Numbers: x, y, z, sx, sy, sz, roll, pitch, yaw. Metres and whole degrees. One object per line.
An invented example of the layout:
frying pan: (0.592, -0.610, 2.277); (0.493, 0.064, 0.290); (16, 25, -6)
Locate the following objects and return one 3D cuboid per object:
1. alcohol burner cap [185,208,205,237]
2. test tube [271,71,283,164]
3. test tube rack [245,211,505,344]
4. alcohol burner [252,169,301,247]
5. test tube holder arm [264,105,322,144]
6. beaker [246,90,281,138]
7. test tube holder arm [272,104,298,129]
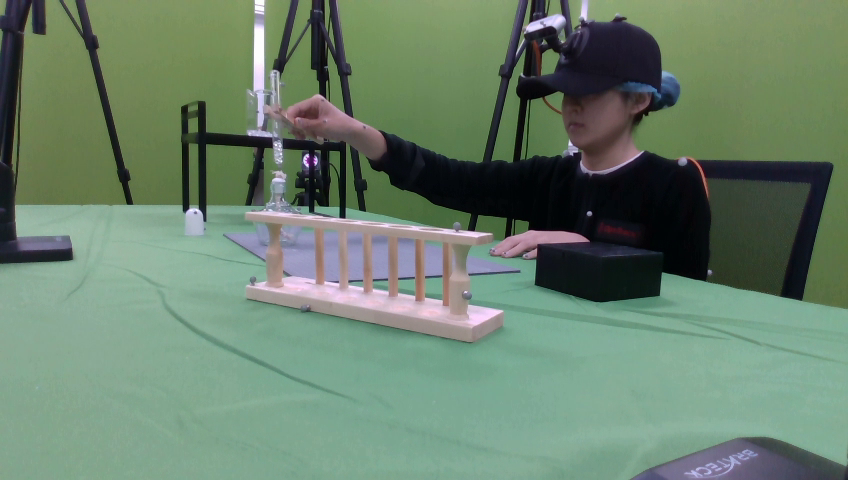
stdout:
alcohol burner cap: (-0.391, -0.031, 1.032); (0.034, 0.048, 0.034); (3, 8, 0)
test tube: (-0.229, -0.191, 0.942); (0.017, 0.150, 0.017); (-4, -8, 0)
test tube rack: (-0.049, 0.025, 0.547); (0.241, 0.085, 0.067); (7, 8, 29)
alcohol burner: (-0.228, -0.050, 0.936); (0.078, 0.119, 0.078); (1, 7, 0)
test tube holder arm: (-0.215, -0.190, 1.010); (0.013, 0.015, 0.179); (-3, -8, 16)
beaker: (-0.354, -0.275, 1.322); (0.074, 0.100, 0.084); (4, 8, 12)
test tube holder arm: (-0.220, -0.196, 0.965); (0.010, 0.015, 0.088); (-2, -7, 9)
